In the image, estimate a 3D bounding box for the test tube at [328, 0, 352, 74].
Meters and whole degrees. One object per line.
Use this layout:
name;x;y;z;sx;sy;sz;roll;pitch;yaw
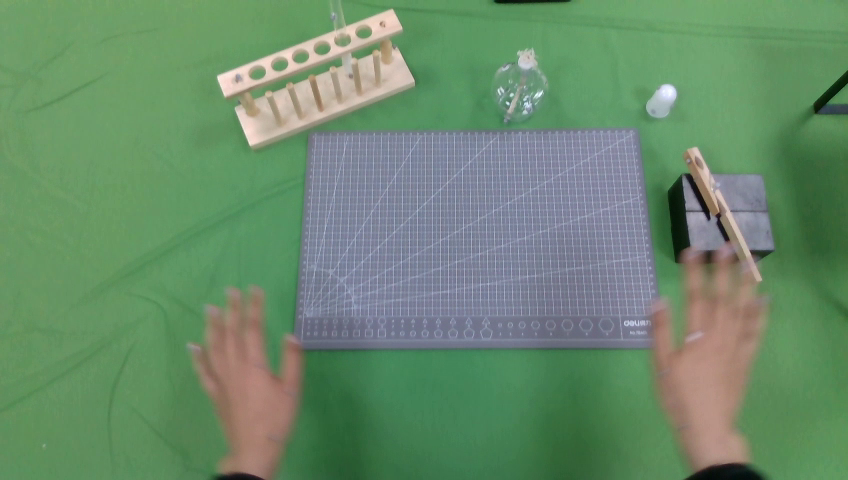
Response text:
test tube;-0.107;-0.266;0.776;0.017;0.151;0.017;0;65;1

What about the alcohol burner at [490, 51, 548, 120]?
alcohol burner;0.126;-0.210;0.792;0.078;0.120;0.077;0;72;0

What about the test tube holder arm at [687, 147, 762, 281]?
test tube holder arm;0.359;-0.033;0.729;0.013;0.015;0.177;-20;74;-7

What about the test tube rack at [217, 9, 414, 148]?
test tube rack;-0.138;-0.214;0.811;0.242;0.086;0.066;-23;72;-7

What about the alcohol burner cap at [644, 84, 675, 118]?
alcohol burner cap;0.321;-0.190;0.820;0.034;0.048;0.033;-1;71;2

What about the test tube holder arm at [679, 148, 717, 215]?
test tube holder arm;0.338;-0.072;0.741;0.010;0.015;0.087;-19;73;-7
